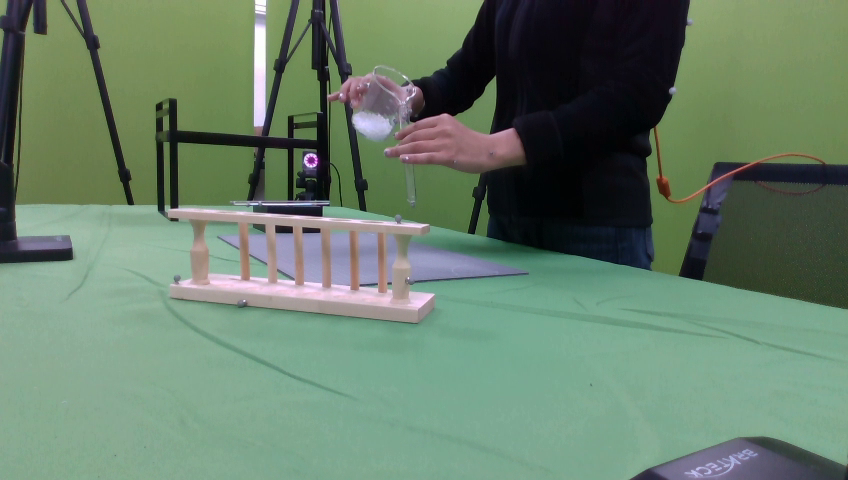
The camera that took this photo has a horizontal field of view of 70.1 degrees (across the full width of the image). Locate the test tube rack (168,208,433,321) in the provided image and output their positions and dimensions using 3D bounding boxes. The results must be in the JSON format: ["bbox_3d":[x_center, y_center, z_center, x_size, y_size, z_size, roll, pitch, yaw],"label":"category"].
[{"bbox_3d":[-0.115,0.017,0.574,0.242,0.085,0.067,4,8,13],"label":"test tube rack"}]

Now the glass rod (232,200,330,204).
[{"bbox_3d":[-0.266,-0.071,1.146,0.201,0.008,0.008,-4,9,-40],"label":"glass rod"}]

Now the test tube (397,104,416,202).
[{"bbox_3d":[-0.026,-0.131,0.908,0.017,0.150,0.017,-5,-8,0],"label":"test tube"}]

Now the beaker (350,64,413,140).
[{"bbox_3d":[-0.070,-0.215,0.969,0.074,0.100,0.083,-2,52,-37],"label":"beaker"}]
